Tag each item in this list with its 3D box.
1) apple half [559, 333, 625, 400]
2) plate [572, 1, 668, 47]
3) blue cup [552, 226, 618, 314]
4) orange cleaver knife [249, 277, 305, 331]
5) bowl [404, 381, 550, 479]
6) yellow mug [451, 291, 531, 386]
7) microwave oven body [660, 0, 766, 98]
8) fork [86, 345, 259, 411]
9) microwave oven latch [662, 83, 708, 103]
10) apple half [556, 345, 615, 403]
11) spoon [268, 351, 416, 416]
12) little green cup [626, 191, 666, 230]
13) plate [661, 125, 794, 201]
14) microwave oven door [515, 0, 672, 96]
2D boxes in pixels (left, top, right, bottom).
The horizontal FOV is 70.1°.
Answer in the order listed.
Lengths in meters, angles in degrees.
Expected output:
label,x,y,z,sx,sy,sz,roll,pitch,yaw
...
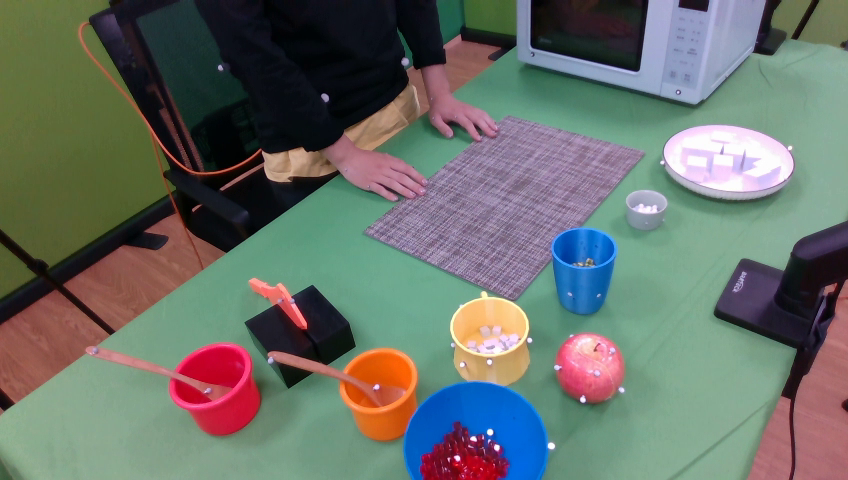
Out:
label,x,y,z,sx,sy,sz,roll,pitch,yaw
apple half,0.209,0.147,0.730,0.080,0.075,0.053,26,48,38
plate,0.441,-0.483,1.366,0.209,0.038,0.208,-5,41,5
blue cup,0.218,0.047,0.826,0.092,0.101,0.092,-6,40,5
orange cleaver knife,-0.210,0.088,0.855,0.012,0.077,0.210,-28,15,-25
bowl,0.058,0.235,0.645,0.151,0.077,0.150,-4,39,4
yellow mug,0.085,0.120,0.786,0.100,0.064,0.130,-7,39,1
microwave oven body,0.472,-0.513,1.317,0.438,0.261,0.327,26,51,34
fork,-0.298,0.166,0.728,0.209,0.018,0.028,28,47,-23
microwave oven latch,0.517,-0.296,1.204,0.078,0.029,0.030,27,52,35
apple half,0.181,0.167,0.709,0.080,0.081,0.033,29,50,35
spoon,-0.090,0.162,0.699,0.021,0.195,0.041,-44,31,27
little green cup,0.352,-0.046,0.963,0.061,0.039,0.061,-4,40,4
plate,0.513,-0.128,1.035,0.207,0.039,0.206,-4,40,4
microwave oven door,0.343,-0.455,1.259,0.353,0.245,0.039,26,51,33
